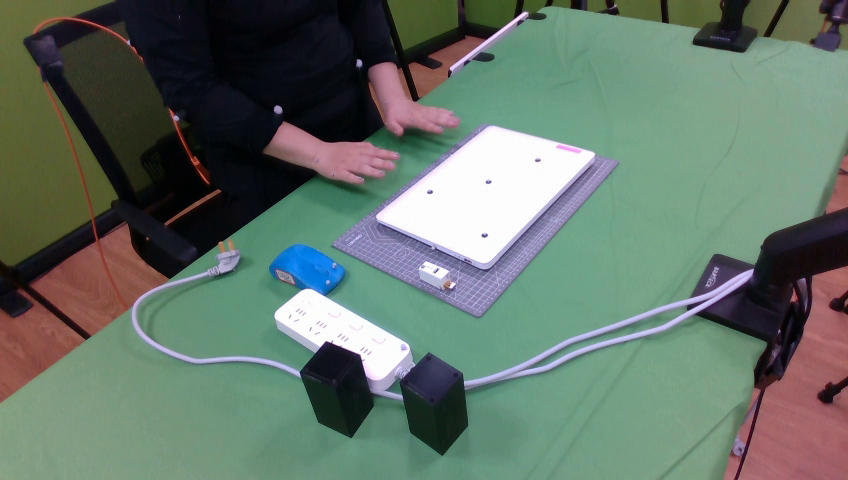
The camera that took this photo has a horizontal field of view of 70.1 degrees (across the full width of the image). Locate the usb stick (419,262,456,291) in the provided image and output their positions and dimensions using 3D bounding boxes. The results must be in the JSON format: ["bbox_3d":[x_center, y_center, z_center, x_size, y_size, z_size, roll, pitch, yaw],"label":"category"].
[{"bbox_3d":[0.022,0.056,0.892,0.058,0.027,0.021,25,46,30],"label":"usb stick"}]

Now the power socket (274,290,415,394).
[{"bbox_3d":[-0.114,0.133,0.820,0.225,0.033,0.072,24,48,32],"label":"power socket"}]

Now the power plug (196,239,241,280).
[{"bbox_3d":[-0.325,0.030,0.954,0.073,0.052,0.035,-16,0,-37],"label":"power plug"}]

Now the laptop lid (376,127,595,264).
[{"bbox_3d":[0.112,-0.096,1.050,0.239,0.013,0.358,24,49,34],"label":"laptop lid"}]

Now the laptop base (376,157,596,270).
[{"bbox_3d":[0.115,-0.086,1.056,0.233,0.023,0.355,21,48,34],"label":"laptop base"}]

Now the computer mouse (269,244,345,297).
[{"bbox_3d":[-0.182,0.044,0.932,0.116,0.041,0.063,23,46,25],"label":"computer mouse"}]
